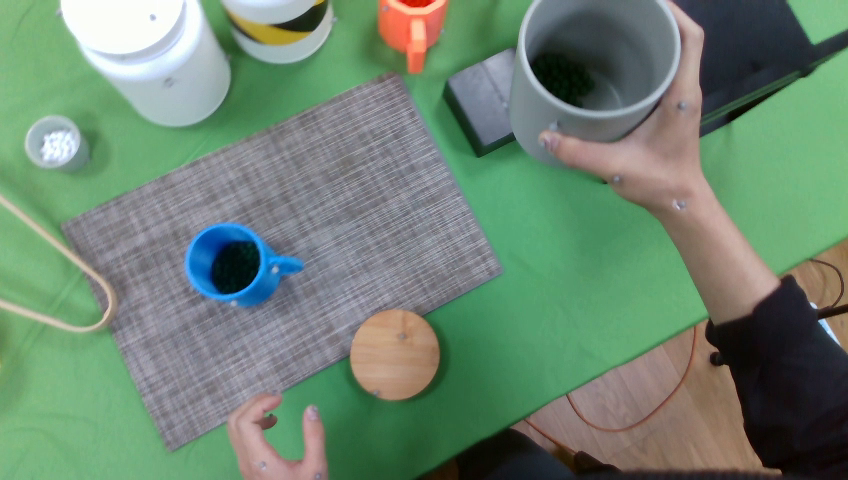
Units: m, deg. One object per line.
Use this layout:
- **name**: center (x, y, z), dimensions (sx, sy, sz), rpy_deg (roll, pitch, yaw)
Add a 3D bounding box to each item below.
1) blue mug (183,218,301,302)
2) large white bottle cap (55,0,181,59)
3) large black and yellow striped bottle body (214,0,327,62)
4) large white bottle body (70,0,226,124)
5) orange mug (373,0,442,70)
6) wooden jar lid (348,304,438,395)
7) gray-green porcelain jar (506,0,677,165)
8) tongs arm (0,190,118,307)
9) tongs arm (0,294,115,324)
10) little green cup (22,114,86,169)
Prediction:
- **blue mug**: center (-0.199, 0.025, 0.691), dimensions (0.117, 0.106, 0.082), rpy_deg (-2, 81, -6)
- **large white bottle cap**: center (-0.301, -0.236, 0.598), dimensions (0.115, 0.018, 0.114), rpy_deg (1, 82, -5)
- **large black and yellow striped bottle body**: center (-0.185, -0.307, 0.707), dimensions (0.131, 0.184, 0.130), rpy_deg (1, 80, -5)
- **large white bottle body**: center (-0.309, -0.222, 0.681), dimensions (0.131, 0.185, 0.130), rpy_deg (1, 81, -5)
- **orange mug**: center (-0.020, -0.286, 0.764), dimensions (0.083, 0.101, 0.125), rpy_deg (-4, 77, -6)
- **wooden jar lid**: center (-0.038, 0.132, 0.736), dimensions (0.108, 0.021, 0.108), rpy_deg (1, 85, -6)
- **gray-green porcelain jar**: center (0.116, -0.120, 0.455), dimensions (0.106, 0.127, 0.105), rpy_deg (-1, 79, 4)
- **tongs arm**: center (-0.506, -0.055, 0.694), dimensions (0.388, 0.028, 0.028), rpy_deg (39, 71, -6)
- **tongs arm**: center (-0.546, 0.017, 0.676), dimensions (0.386, 0.026, 0.050), rpy_deg (26, 76, -8)
- **little green cup**: center (-0.441, -0.115, 0.726), dimensions (0.061, 0.038, 0.061), rpy_deg (1, 82, -6)
